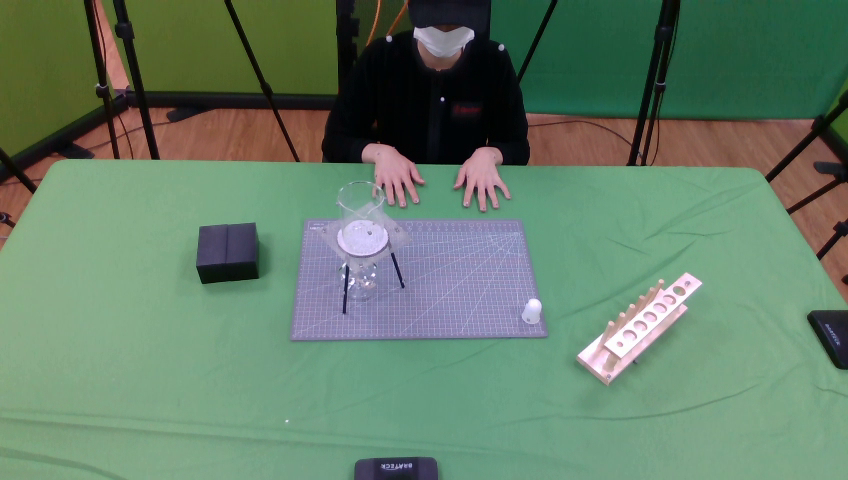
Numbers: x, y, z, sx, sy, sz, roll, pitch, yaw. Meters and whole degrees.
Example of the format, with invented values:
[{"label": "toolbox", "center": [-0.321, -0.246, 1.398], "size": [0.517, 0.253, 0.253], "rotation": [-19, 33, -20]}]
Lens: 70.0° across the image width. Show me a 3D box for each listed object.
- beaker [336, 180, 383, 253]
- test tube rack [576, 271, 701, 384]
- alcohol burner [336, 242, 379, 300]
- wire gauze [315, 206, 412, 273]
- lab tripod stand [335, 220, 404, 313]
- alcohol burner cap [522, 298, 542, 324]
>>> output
[{"label": "beaker", "center": [-0.102, -0.034, 0.981], "size": [0.074, 0.101, 0.083], "rotation": [-7, 46, -9]}, {"label": "test tube rack", "center": [0.373, 0.138, 1.047], "size": [0.242, 0.085, 0.066], "rotation": [-31, 56, -29]}, {"label": "alcohol burner", "center": [-0.118, 0.050, 1.072], "size": [0.078, 0.120, 0.077], "rotation": [2, 44, -1]}, {"label": "wire gauze", "center": [-0.103, -0.007, 1.024], "size": [0.121, 0.011, 0.124], "rotation": [-28, 50, -29]}, {"label": "lab tripod stand", "center": [-0.110, 0.039, 1.070], "size": [0.148, 0.132, 0.147], "rotation": [1, 46, -1]}, {"label": "alcohol burner cap", "center": [0.193, 0.124, 1.074], "size": [0.034, 0.048, 0.033], "rotation": [2, 46, -1]}]
